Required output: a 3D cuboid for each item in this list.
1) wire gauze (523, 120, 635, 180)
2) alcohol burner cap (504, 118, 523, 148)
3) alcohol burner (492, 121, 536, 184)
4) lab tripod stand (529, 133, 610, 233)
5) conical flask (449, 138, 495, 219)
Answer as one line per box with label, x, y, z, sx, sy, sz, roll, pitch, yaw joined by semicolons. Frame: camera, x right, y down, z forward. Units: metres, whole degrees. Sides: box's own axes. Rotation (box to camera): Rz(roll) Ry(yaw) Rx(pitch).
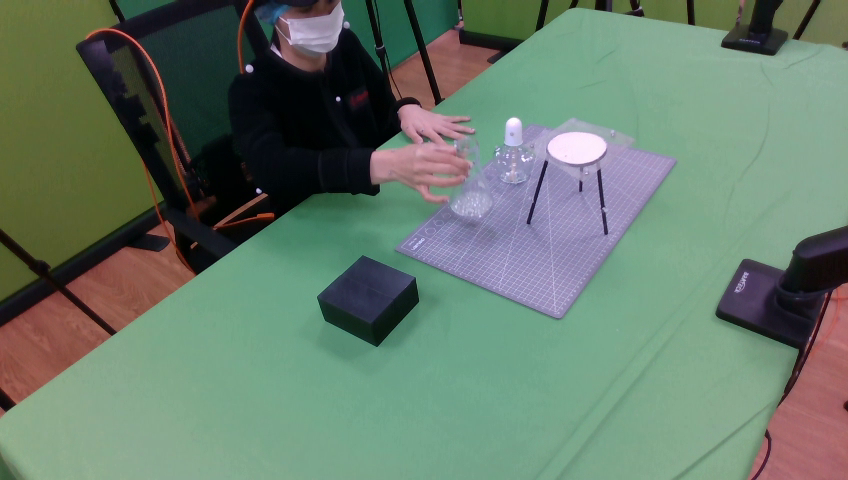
wire gauze;0.233;-0.143;0.913;0.122;0.011;0.124;-32;45;-25
alcohol burner cap;0.154;-0.186;1.042;0.034;0.048;0.033;-4;33;3
alcohol burner;0.159;-0.158;1.064;0.078;0.119;0.077;-3;41;3
lab tripod stand;0.236;-0.089;0.953;0.148;0.132;0.147;-5;42;5
conical flask;0.072;-0.099;0.947;0.075;0.122;0.075;-5;41;5
